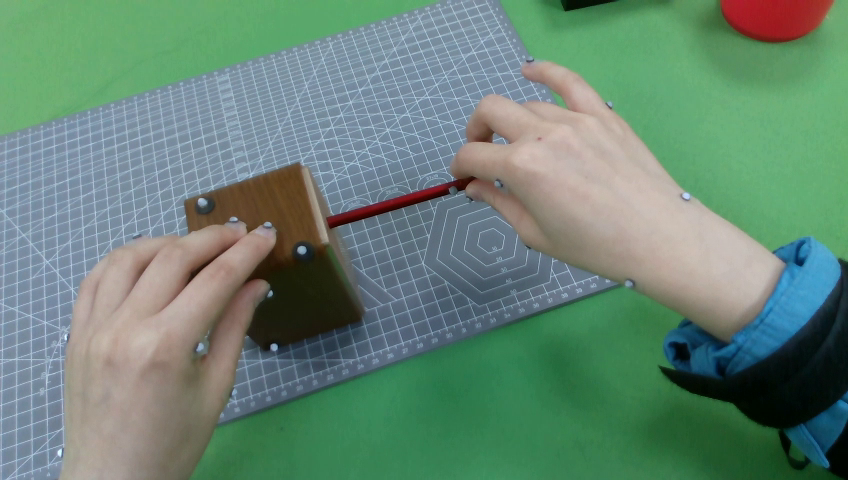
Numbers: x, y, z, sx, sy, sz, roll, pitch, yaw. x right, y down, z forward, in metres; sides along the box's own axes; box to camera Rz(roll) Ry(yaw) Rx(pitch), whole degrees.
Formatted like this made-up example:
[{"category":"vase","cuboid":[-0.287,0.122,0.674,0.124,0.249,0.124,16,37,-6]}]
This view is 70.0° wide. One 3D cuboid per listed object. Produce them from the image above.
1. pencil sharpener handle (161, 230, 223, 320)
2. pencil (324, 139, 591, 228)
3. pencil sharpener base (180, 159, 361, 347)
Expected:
[{"category":"pencil sharpener handle","cuboid":[-0.137,0.025,0.349,0.030,0.068,0.035,-19,55,-4]},{"category":"pencil","cuboid":[0.005,-0.028,0.349,0.194,0.012,0.012,-17,62,-6]},{"category":"pencil sharpener base","cuboid":[-0.088,0.013,0.364,0.077,0.108,0.061,-19,62,-4]}]
